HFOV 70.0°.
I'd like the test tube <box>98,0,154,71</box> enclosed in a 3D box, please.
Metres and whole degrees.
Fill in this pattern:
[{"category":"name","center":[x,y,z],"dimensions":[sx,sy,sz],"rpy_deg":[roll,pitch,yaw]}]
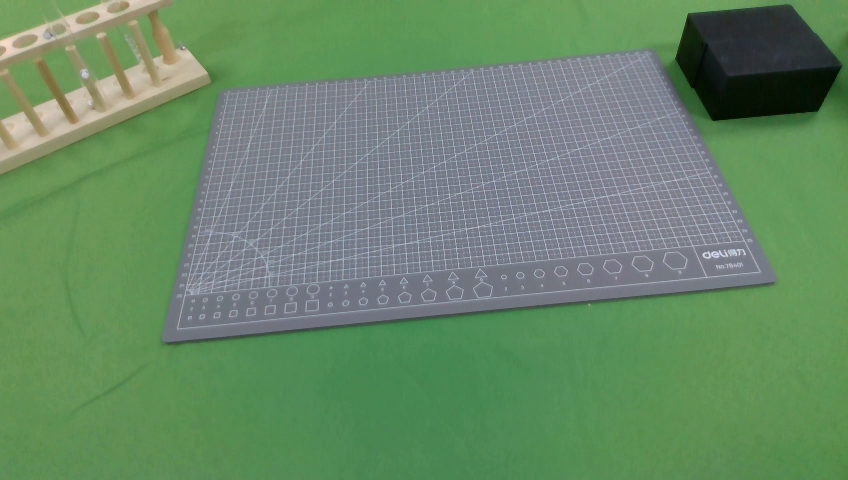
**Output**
[{"category":"test tube","center":[-0.300,-0.226,0.579],"dimensions":[0.017,0.152,0.017],"rpy_deg":[-5,52,7]}]

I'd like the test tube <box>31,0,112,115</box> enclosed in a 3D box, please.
[{"category":"test tube","center":[-0.322,-0.176,0.546],"dimensions":[0.017,0.152,0.017],"rpy_deg":[-2,50,2]}]

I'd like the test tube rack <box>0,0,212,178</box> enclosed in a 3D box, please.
[{"category":"test tube rack","center":[-0.343,-0.151,0.585],"dimensions":[0.242,0.086,0.066],"rpy_deg":[-31,55,-19]}]
